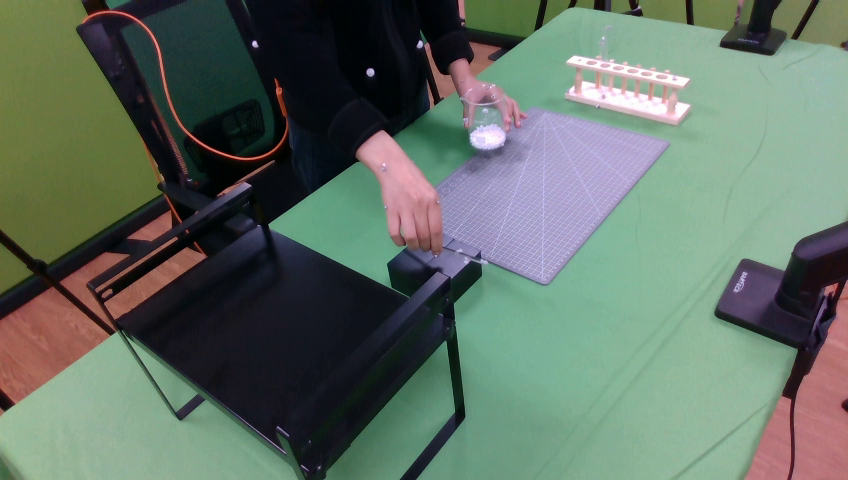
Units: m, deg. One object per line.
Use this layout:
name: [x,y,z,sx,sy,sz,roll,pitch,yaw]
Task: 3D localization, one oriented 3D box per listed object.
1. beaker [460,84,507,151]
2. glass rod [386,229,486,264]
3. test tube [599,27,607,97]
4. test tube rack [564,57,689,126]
beaker: [0.111,-0.220,1.101,0.084,0.101,0.074,2,41,13]
glass rod: [0.012,0.008,0.865,0.198,0.008,0.008,18,45,43]
test tube: [0.358,-0.353,1.210,0.017,0.151,0.017,-8,43,8]
test tube rack: [0.411,-0.311,1.230,0.240,0.085,0.067,23,49,32]
